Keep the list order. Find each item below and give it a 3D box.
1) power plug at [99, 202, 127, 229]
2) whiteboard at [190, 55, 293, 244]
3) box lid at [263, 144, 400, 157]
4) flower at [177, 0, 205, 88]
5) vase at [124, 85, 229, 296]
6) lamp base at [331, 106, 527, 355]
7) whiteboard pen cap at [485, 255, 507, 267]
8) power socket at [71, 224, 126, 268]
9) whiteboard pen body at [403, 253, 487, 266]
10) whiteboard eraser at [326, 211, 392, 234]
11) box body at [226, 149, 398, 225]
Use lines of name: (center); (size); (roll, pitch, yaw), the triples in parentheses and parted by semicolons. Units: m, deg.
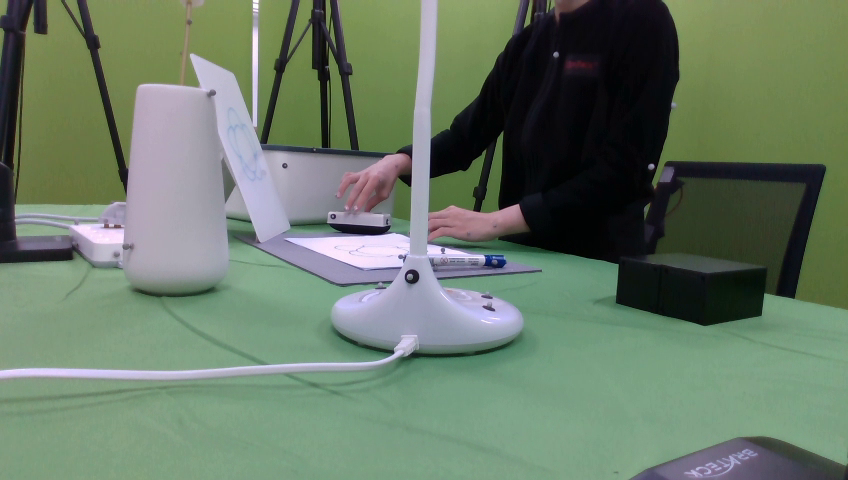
power plug: (-0.415, -0.026, 0.848); (0.073, 0.052, 0.035); (6, 5, -28)
whiteboard: (-0.362, -0.129, 1.029); (0.144, 0.305, 0.217); (-18, 7, 3)
box lid: (-0.263, -0.203, 1.369); (0.262, 0.015, 0.373); (9, 10, 39)
flower: (-0.243, -0.131, 0.609); (0.044, 0.361, 0.038); (-5, -12, 11)
vase: (-0.244, -0.047, 0.598); (0.098, 0.200, 0.098); (3, 8, 0)
lamp base: (0.006, -0.012, 0.478); (0.161, 0.180, 0.179); (2, 10, 2)
whiteboard pen cap: (0.093, 0.028, 0.810); (0.033, 0.018, 0.018); (1, 7, -24)
power socket: (-0.409, 0.004, 0.793); (0.072, 0.032, 0.225); (-2, 8, -37)
whiteboard pen body: (0.040, 0.026, 0.785); (0.141, 0.017, 0.017); (1, 7, -24)
whiteboard eraser: (-0.121, -0.033, 1.131); (0.112, 0.042, 0.056); (4, 8, 13)
box body: (-0.265, -0.129, 1.380); (0.253, 0.160, 0.366); (8, 9, 39)
